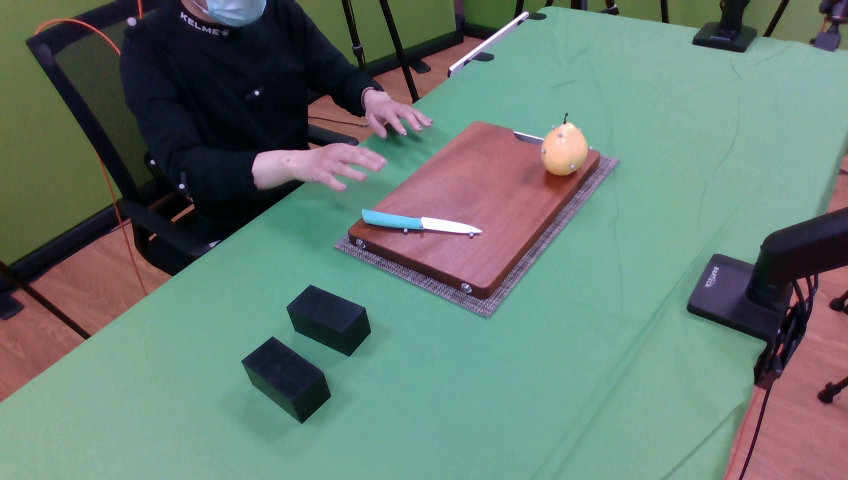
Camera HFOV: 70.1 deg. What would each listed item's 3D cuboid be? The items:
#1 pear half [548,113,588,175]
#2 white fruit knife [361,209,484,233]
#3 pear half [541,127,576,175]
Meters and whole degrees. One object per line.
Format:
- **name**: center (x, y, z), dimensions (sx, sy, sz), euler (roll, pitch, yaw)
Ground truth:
- **pear half**: center (0.245, -0.170, 1.020), dimensions (0.056, 0.110, 0.075), euler (-36, 52, -29)
- **white fruit knife**: center (-0.006, -0.027, 0.960), dimensions (0.207, 0.016, 0.027), euler (7, 56, 14)
- **pear half**: center (0.219, -0.145, 1.010), dimensions (0.070, 0.088, 0.031), euler (35, 55, 29)
